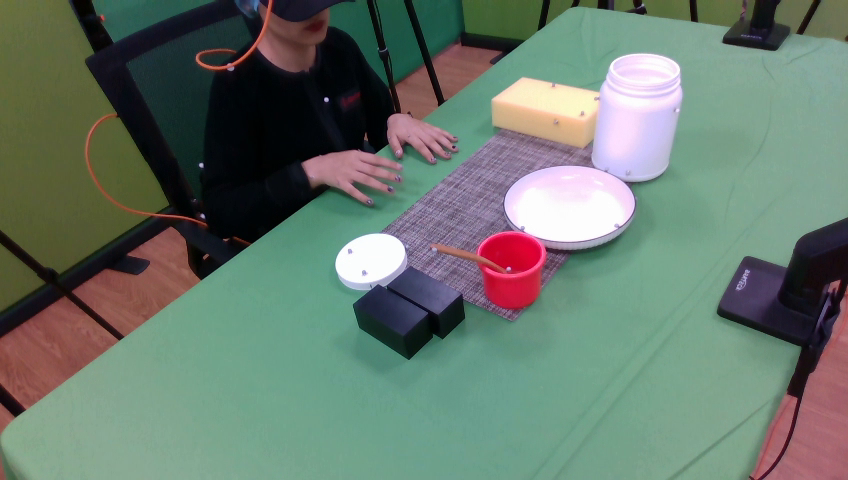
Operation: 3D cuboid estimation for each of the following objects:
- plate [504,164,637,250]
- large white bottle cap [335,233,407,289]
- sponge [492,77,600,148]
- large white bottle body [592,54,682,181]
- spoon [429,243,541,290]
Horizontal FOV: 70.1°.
[{"bbox_3d":[0.234,-0.051,0.981,0.209,0.038,0.208,-5,40,5],"label":"plate"},{"bbox_3d":[-0.084,0.032,0.961,0.115,0.018,0.114,-6,41,6],"label":"large white bottle cap"},{"bbox_3d":[0.254,-0.259,1.207,0.205,0.061,0.118,22,47,31],"label":"sponge"},{"bbox_3d":[0.360,-0.208,1.027,0.130,0.185,0.130,-3,41,3],"label":"large white bottle body"},{"bbox_3d":[0.086,0.033,0.826,0.195,0.021,0.041,23,27,-33],"label":"spoon"}]
